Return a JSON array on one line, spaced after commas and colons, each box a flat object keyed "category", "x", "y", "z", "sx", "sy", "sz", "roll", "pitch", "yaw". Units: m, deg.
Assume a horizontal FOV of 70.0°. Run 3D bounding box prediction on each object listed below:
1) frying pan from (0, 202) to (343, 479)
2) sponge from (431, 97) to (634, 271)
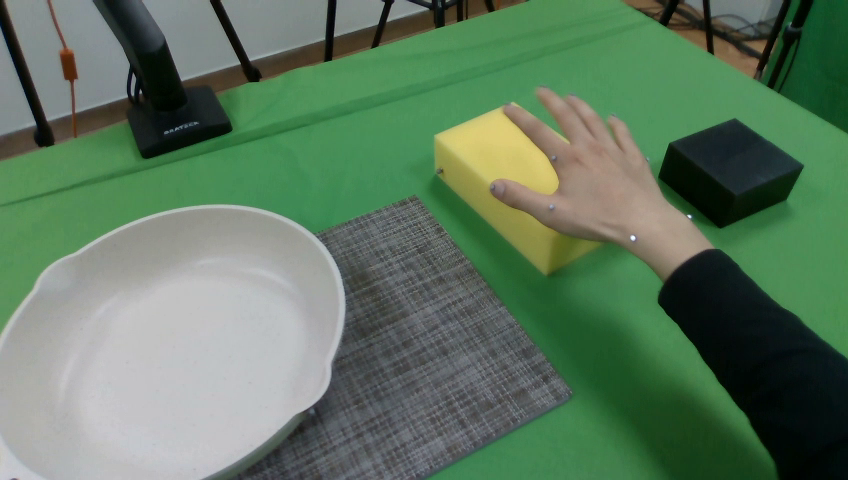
[{"category": "frying pan", "x": -0.261, "y": 0.147, "z": 0.463, "sx": 0.305, "sy": 0.103, "sz": 0.486, "roll": 19, "pitch": 43, "yaw": 20}, {"category": "sponge", "x": 0.113, "y": -0.071, "z": 0.680, "sx": 0.118, "sy": 0.061, "sz": 0.204, "roll": -27, "pitch": 52, "yaw": -21}]
